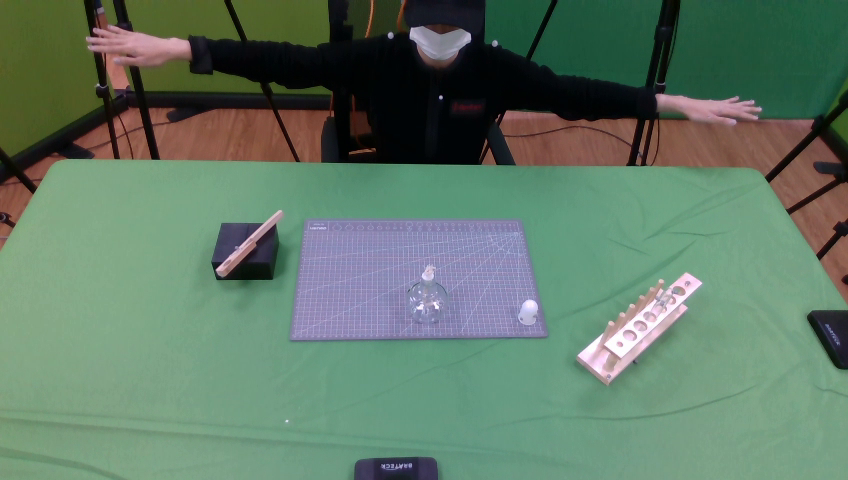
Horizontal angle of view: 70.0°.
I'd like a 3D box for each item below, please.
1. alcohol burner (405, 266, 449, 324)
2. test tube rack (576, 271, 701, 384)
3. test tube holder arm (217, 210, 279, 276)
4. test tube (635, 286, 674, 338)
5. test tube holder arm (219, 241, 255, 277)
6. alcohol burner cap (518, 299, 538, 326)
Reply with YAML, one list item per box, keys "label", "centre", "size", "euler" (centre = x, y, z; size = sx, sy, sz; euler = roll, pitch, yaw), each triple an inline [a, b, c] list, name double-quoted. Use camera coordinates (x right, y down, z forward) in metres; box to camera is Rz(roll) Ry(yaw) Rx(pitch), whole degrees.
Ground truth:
- label: "alcohol burner"
  centre: [0.005, 0.089, 1.043]
  size: [0.078, 0.120, 0.077]
  euler: [1, 45, -1]
- label: "test tube rack"
  centre: [0.373, 0.138, 1.047]
  size: [0.242, 0.085, 0.066]
  euler: [-31, 56, -29]
- label: "test tube holder arm"
  centre: [-0.318, 0.002, 1.108]
  size: [0.013, 0.015, 0.178]
  euler: [17, 46, 15]
- label: "test tube"
  centre: [0.375, 0.123, 0.994]
  size: [0.017, 0.151, 0.017]
  euler: [2, 52, -2]
- label: "test tube holder arm"
  centre: [-0.331, 0.032, 1.076]
  size: [0.010, 0.015, 0.087]
  euler: [19, 47, 17]
- label: "alcohol burner cap"
  centre: [0.186, 0.126, 1.072]
  size: [0.034, 0.048, 0.033]
  euler: [1, 45, -1]
